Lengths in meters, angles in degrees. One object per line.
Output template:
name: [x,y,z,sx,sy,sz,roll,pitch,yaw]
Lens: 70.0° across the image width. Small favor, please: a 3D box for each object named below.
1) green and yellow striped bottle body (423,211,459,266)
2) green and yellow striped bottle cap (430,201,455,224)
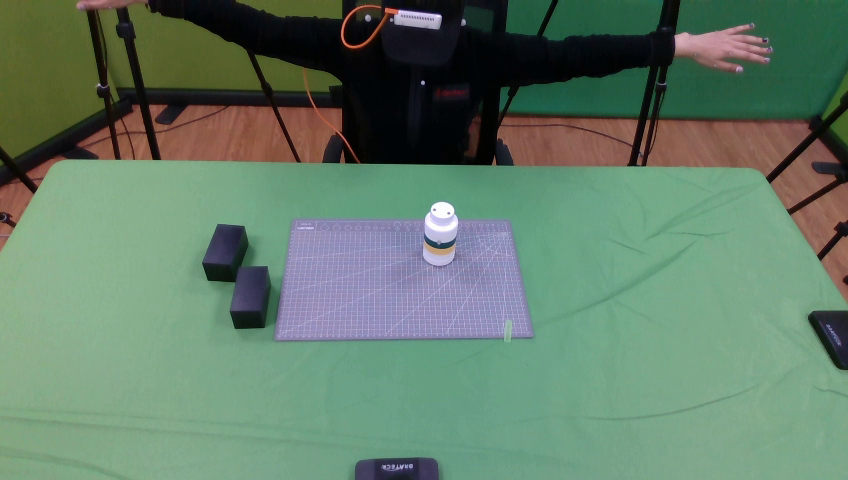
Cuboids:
green and yellow striped bottle body: [0.032,-0.013,1.139,0.063,0.120,0.063,2,46,-2]
green and yellow striped bottle cap: [0.034,-0.050,1.102,0.045,0.020,0.045,2,48,-2]
